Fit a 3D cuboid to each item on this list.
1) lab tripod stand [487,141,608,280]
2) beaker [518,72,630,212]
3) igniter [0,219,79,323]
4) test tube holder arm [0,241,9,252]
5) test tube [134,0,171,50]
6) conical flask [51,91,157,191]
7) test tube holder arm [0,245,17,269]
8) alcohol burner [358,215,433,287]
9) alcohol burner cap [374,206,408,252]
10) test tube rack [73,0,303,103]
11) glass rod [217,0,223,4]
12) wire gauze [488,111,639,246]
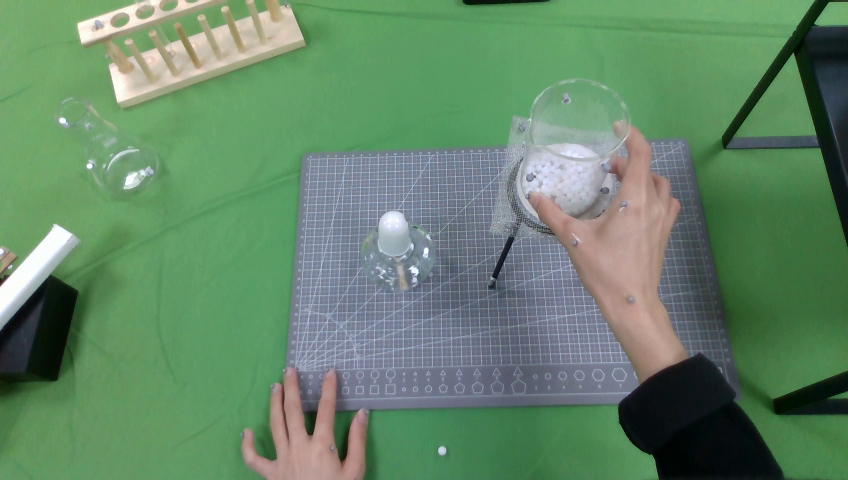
[{"bbox_3d":[0.124,-0.026,0.599,0.148,0.132,0.147,0,66,1],"label":"lab tripod stand"},{"bbox_3d":[0.114,-0.073,0.494,0.084,0.101,0.073,-22,66,-7],"label":"beaker"},{"bbox_3d":[-0.444,0.094,0.585,0.057,0.025,0.275,26,70,23],"label":"igniter"},{"bbox_3d":[-0.478,0.073,0.595,0.013,0.015,0.178,41,73,-14],"label":"test tube holder arm"},{"bbox_3d":[-0.328,-0.279,0.701,0.017,0.151,0.017,-1,61,2],"label":"test tube"},{"bbox_3d":[-0.356,-0.113,0.667,0.075,0.123,0.075,-1,67,3],"label":"conical flask"},{"bbox_3d":[-0.448,0.042,0.609,0.010,0.015,0.087,42,73,-14],"label":"test tube holder arm"},{"bbox_3d":[-0.030,0.002,0.605,0.078,0.120,0.077,0,65,1],"label":"alcohol burner"},{"bbox_3d":[-0.031,-0.014,0.573,0.034,0.048,0.033,2,59,-2],"label":"alcohol burner cap"},{"bbox_3d":[-0.282,-0.258,0.743,0.242,0.086,0.066,-21,67,-6],"label":"test tube rack"},{"bbox_3d":[-0.255,-0.321,0.697,0.008,0.201,0.008,-2,59,4],"label":"glass rod"},{"bbox_3d":[0.127,-0.056,0.539,0.121,0.011,0.124,11,66,6],"label":"wire gauze"}]
